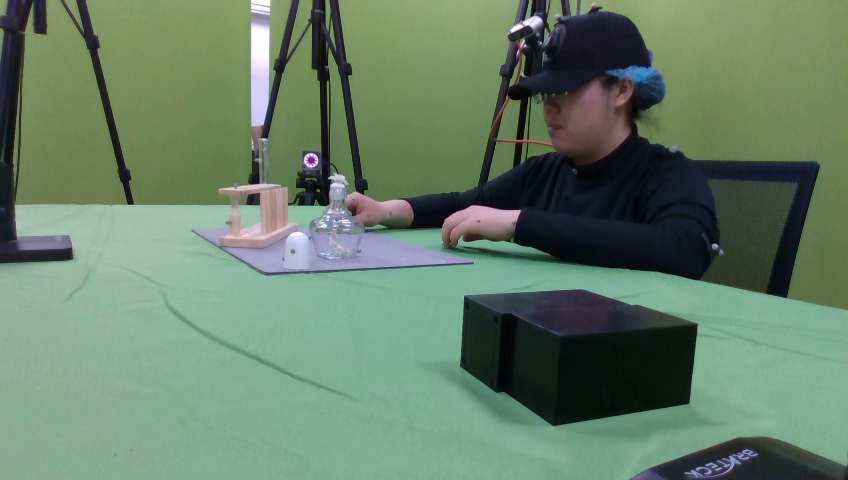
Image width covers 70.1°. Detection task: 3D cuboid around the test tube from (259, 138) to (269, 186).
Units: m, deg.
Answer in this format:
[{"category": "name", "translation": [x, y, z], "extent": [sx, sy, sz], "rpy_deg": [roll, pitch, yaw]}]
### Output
[{"category": "test tube", "translation": [-0.281, -0.104, 1.064], "extent": [0.017, 0.150, 0.017], "rpy_deg": [2, 12, 0]}]

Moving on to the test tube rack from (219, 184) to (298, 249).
[{"category": "test tube rack", "translation": [-0.266, -0.046, 1.001], "extent": [0.067, 0.085, 0.242], "rpy_deg": [3, 7, 0]}]

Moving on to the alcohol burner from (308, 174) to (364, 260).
[{"category": "alcohol burner", "translation": [-0.121, -0.033, 0.841], "extent": [0.078, 0.119, 0.078], "rpy_deg": [3, 5, 0]}]

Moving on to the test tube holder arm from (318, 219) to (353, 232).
[{"category": "test tube holder arm", "translation": [-0.163, -0.028, 1.135], "extent": [0.015, 0.013, 0.178], "rpy_deg": [31, 11, 5]}]

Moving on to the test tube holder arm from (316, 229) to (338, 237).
[{"category": "test tube holder arm", "translation": [-0.173, -0.018, 1.091], "extent": [0.015, 0.010, 0.088], "rpy_deg": [31, 12, 5]}]

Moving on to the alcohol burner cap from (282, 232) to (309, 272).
[{"category": "alcohol burner cap", "translation": [-0.157, 0.014, 0.740], "extent": [0.034, 0.048, 0.034], "rpy_deg": [3, 6, 0]}]
